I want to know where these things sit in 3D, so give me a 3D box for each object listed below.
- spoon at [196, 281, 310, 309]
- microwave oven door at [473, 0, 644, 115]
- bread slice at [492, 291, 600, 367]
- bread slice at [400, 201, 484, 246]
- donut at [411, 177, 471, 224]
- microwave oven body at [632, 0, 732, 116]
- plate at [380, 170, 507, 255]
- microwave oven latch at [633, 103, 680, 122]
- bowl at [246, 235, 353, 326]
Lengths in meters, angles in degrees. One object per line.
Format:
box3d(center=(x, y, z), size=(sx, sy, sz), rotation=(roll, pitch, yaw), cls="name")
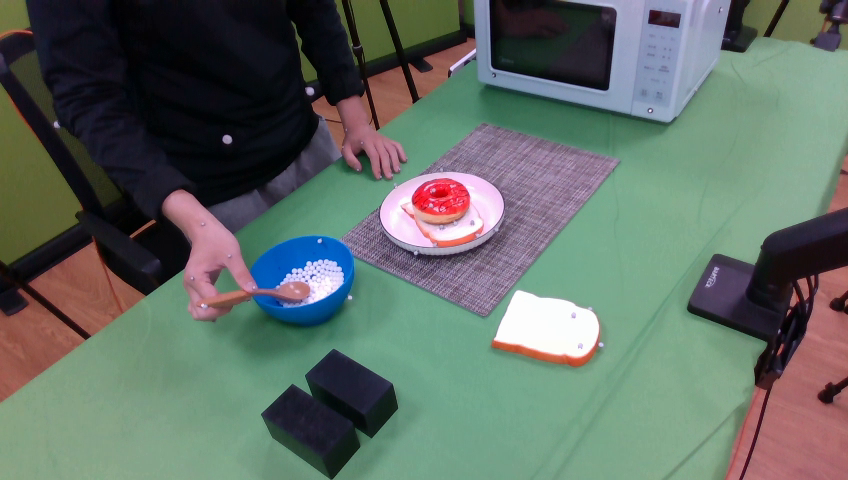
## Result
box3d(center=(-0.221, 0.071, 0.796), size=(0.041, 0.021, 0.195), rotation=(28, 12, 26), cls="spoon")
box3d(center=(0.257, -0.396, 1.199), size=(0.353, 0.245, 0.039), rotation=(21, 48, 29), cls="microwave oven door")
box3d(center=(0.169, 0.118, 0.811), size=(0.131, 0.019, 0.105), rotation=(11, 45, 22), cls="bread slice")
box3d(center=(0.037, -0.038, 0.990), size=(0.107, 0.018, 0.133), rotation=(-23, 42, -17), cls="bread slice")
box3d(center=(0.028, -0.064, 0.978), size=(0.099, 0.048, 0.098), rotation=(-4, 40, 4), cls="donut")
box3d(center=(0.377, -0.462, 1.267), size=(0.438, 0.261, 0.327), rotation=(21, 48, 30), cls="microwave oven body")
box3d(center=(0.033, -0.042, 0.995), size=(0.207, 0.039, 0.206), rotation=(-4, 40, 4), cls="plate")
box3d(center=(0.444, -0.249, 1.157), size=(0.078, 0.029, 0.030), rotation=(21, 49, 30), cls="microwave oven latch")
box3d(center=(-0.170, 0.070, 0.868), size=(0.151, 0.077, 0.150), rotation=(-4, 41, 4), cls="bowl")
